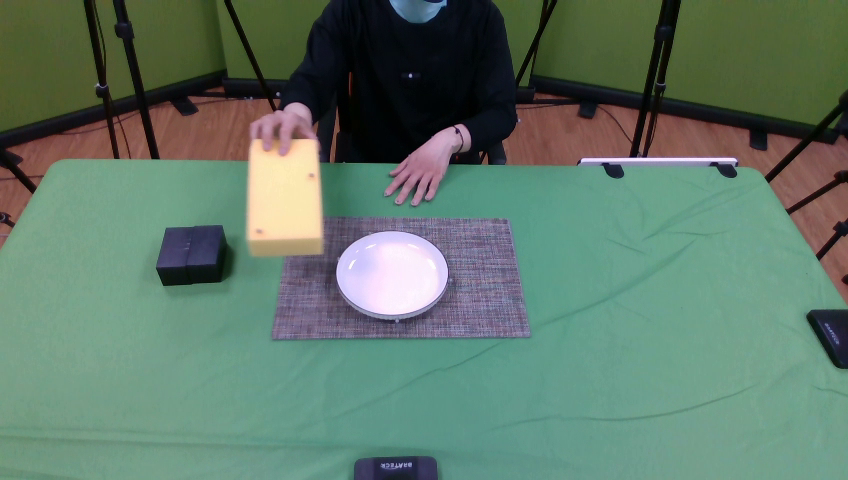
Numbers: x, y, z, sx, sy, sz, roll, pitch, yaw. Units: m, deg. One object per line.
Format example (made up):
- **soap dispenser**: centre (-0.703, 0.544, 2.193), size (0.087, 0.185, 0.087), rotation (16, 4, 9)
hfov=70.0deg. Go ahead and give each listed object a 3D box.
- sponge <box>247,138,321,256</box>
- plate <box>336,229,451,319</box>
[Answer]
- **sponge**: centre (-0.242, -0.076, 1.049), size (0.118, 0.061, 0.205), rotation (-3, 61, -9)
- **plate**: centre (-0.056, 0.065, 1.113), size (0.208, 0.039, 0.206), rotation (2, 46, -2)
